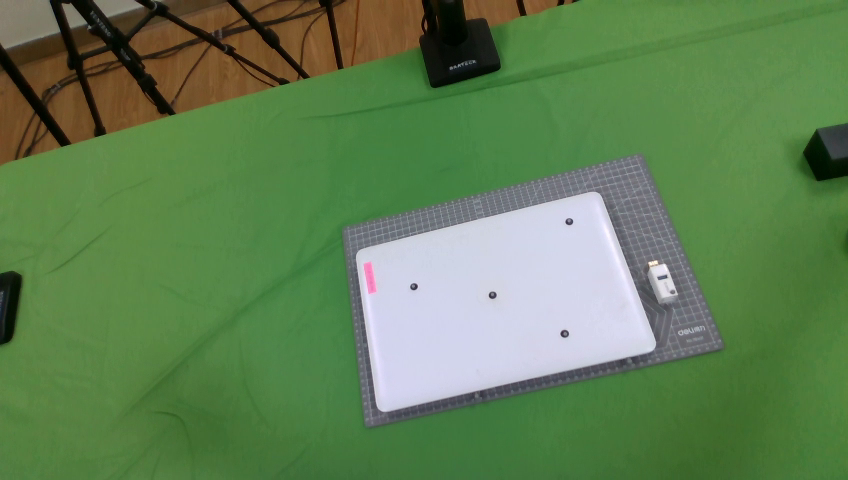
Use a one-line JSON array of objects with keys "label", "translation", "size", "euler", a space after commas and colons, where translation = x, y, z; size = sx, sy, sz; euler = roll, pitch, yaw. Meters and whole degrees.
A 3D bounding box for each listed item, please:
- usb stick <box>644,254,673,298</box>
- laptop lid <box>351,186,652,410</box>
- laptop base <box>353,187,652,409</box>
[{"label": "usb stick", "translation": [0.295, 0.042, 0.768], "size": [0.021, 0.027, 0.058], "euler": [-16, 58, 8]}, {"label": "laptop lid", "translation": [0.087, 0.069, 0.791], "size": [0.356, 0.013, 0.239], "euler": [-13, 64, 5]}, {"label": "laptop base", "translation": [0.089, 0.072, 0.803], "size": [0.354, 0.023, 0.233], "euler": [-15, 65, 4]}]
